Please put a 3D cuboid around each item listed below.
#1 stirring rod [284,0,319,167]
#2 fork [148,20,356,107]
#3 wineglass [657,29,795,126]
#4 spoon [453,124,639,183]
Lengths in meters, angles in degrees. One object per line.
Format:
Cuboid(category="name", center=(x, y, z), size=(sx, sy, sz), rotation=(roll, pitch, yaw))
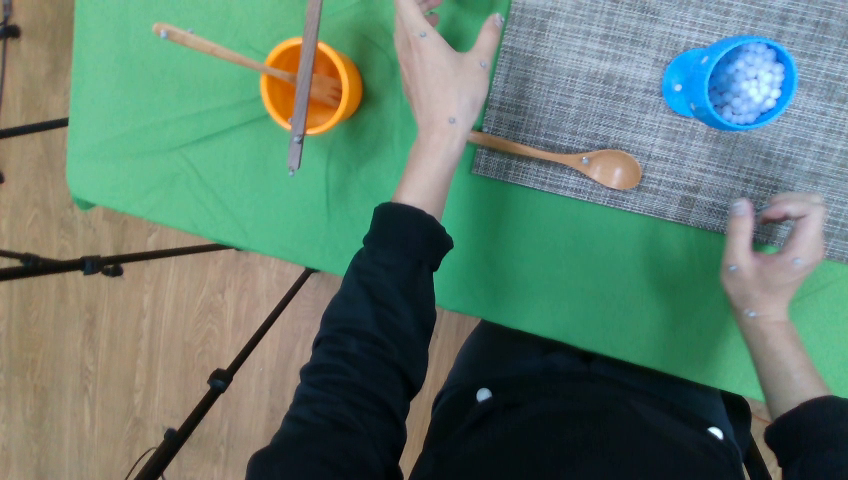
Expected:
Cuboid(category="stirring rod", center=(-0.119, -0.157, 0.585), size=(0.014, 0.006, 0.177), rotation=(14, 108, 7))
Cuboid(category="fork", center=(-0.159, -0.171, 0.591), size=(0.209, 0.018, 0.028), rotation=(11, 121, -38))
Cuboid(category="wineglass", center=(0.244, -0.136, 0.508), size=(0.073, 0.172, 0.074), rotation=(3, 106, 10))
Cuboid(category="spoon", center=(0.122, -0.095, 0.623), size=(0.193, 0.021, 0.042), rotation=(13, 129, 7))
